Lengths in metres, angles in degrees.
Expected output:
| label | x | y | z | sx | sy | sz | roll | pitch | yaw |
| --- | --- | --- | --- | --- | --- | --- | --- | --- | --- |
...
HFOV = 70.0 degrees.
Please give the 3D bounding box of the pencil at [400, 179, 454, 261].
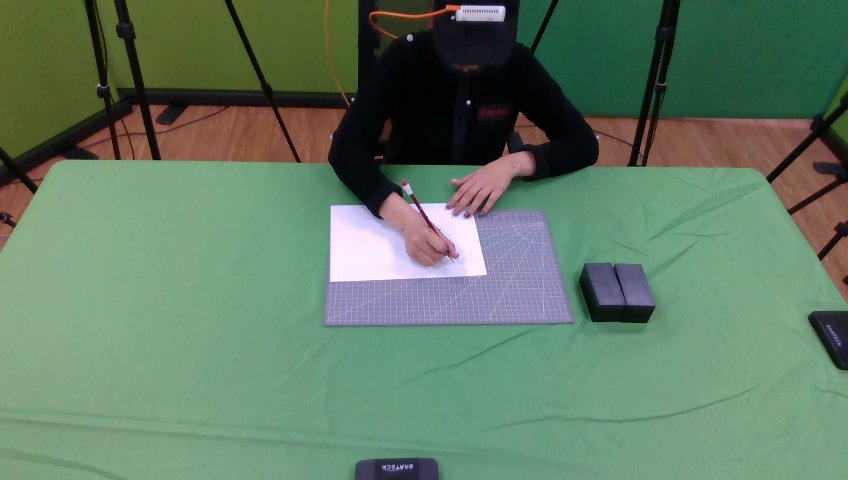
| label | x | y | z | sx | sy | sz | roll | pitch | yaw |
| --- | --- | --- | --- | --- | --- | --- | --- | --- | --- |
| pencil | 0.009 | -0.034 | 1.131 | 0.012 | 0.195 | 0.012 | -27 | 24 | 13 |
